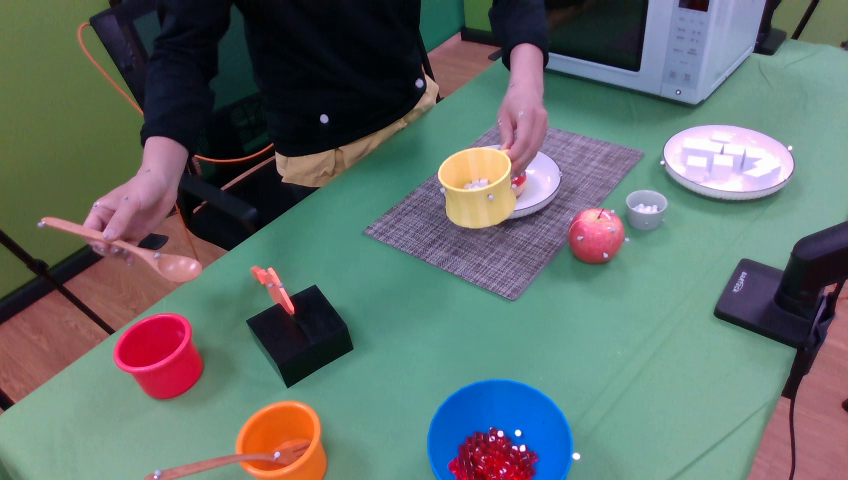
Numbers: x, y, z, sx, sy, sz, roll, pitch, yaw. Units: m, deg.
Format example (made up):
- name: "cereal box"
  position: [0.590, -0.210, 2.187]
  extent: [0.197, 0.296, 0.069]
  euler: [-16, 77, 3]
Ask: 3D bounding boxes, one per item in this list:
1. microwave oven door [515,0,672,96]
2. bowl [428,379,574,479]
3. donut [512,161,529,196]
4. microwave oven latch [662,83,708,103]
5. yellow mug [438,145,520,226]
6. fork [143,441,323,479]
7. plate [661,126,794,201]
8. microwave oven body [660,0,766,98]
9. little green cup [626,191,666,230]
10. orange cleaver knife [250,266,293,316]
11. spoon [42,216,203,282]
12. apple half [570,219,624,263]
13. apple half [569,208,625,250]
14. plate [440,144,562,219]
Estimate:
- name: "microwave oven door"
  position: [0.344, -0.455, 1.259]
  extent: [0.353, 0.245, 0.039]
  euler: [26, 51, 33]
- name: "bowl"
  position: [0.082, 0.233, 0.644]
  extent: [0.151, 0.077, 0.150]
  euler: [-4, 40, 4]
- name: "donut"
  position: [0.132, -0.105, 1.043]
  extent: [0.099, 0.048, 0.098]
  euler: [-5, 38, 4]
- name: "microwave oven latch"
  position: [0.518, -0.296, 1.204]
  extent: [0.078, 0.029, 0.030]
  euler: [27, 52, 35]
- name: "yellow mug"
  position: [0.085, -0.084, 0.828]
  extent: [0.131, 0.064, 0.099]
  euler: [-36, 45, -24]
- name: "fork"
  position: [-0.189, 0.231, 0.631]
  extent: [0.028, 0.018, 0.209]
  euler: [35, 13, 37]
- name: "plate"
  position: [0.513, -0.127, 1.035]
  extent: [0.207, 0.039, 0.206]
  euler: [-4, 40, 4]
- name: "microwave oven body"
  position: [0.472, -0.513, 1.317]
  extent: [0.438, 0.261, 0.327]
  euler: [26, 51, 34]
- name: "little green cup"
  position: [0.352, -0.046, 0.963]
  extent: [0.061, 0.039, 0.061]
  euler: [-4, 40, 4]
- name: "orange cleaver knife"
  position: [-0.221, 0.071, 0.873]
  extent: [0.012, 0.077, 0.210]
  euler: [-25, 11, -21]
- name: "spoon"
  position: [-0.377, 0.008, 0.763]
  extent: [0.195, 0.021, 0.041]
  euler: [25, 48, -18]
- name: "apple half"
  position: [0.250, 0.009, 0.885]
  extent: [0.081, 0.081, 0.033]
  euler: [8, 39, 17]
- name: "apple half"
  position: [0.262, -0.014, 0.913]
  extent: [0.080, 0.075, 0.053]
  euler: [5, 37, 20]
- name: "plate"
  position: [0.134, -0.098, 1.051]
  extent: [0.209, 0.038, 0.208]
  euler: [-4, 40, 4]
